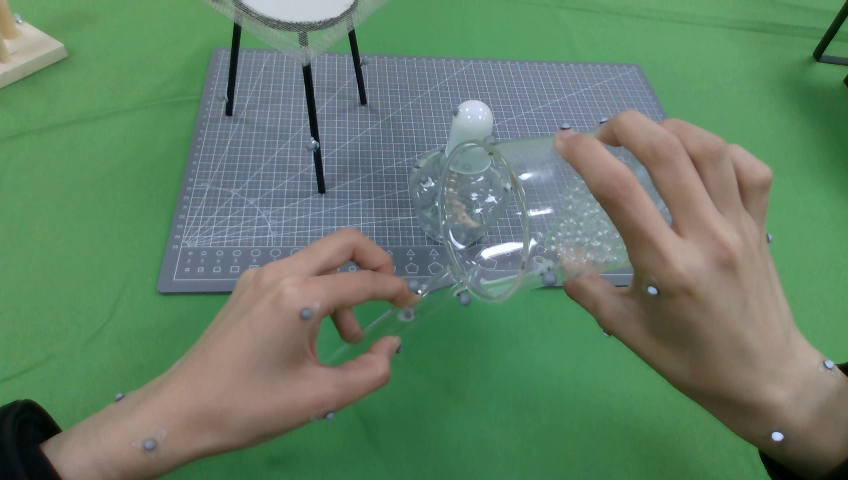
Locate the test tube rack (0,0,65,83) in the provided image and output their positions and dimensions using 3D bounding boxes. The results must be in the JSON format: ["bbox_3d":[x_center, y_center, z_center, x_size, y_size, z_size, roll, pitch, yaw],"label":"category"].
[{"bbox_3d":[-0.428,-0.148,0.480,0.066,0.086,0.241,30,53,17],"label":"test tube rack"}]

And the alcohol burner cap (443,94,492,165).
[{"bbox_3d":[0.031,-0.078,0.417,0.034,0.048,0.033,2,55,-3],"label":"alcohol burner cap"}]

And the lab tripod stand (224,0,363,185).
[{"bbox_3d":[-0.098,-0.139,0.484,0.148,0.132,0.147,5,51,-6],"label":"lab tripod stand"}]

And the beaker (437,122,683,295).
[{"bbox_3d":[0.066,-0.017,0.295,0.100,0.084,0.073,-11,55,-25],"label":"beaker"}]

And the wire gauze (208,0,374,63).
[{"bbox_3d":[-0.094,-0.182,0.432,0.124,0.011,0.121,31,54,16],"label":"wire gauze"}]

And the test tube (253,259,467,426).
[{"bbox_3d":[-0.039,0.058,0.325,0.150,0.017,0.017,-38,53,17],"label":"test tube"}]

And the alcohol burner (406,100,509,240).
[{"bbox_3d":[0.028,-0.056,0.445,0.078,0.120,0.077,5,49,-5],"label":"alcohol burner"}]
